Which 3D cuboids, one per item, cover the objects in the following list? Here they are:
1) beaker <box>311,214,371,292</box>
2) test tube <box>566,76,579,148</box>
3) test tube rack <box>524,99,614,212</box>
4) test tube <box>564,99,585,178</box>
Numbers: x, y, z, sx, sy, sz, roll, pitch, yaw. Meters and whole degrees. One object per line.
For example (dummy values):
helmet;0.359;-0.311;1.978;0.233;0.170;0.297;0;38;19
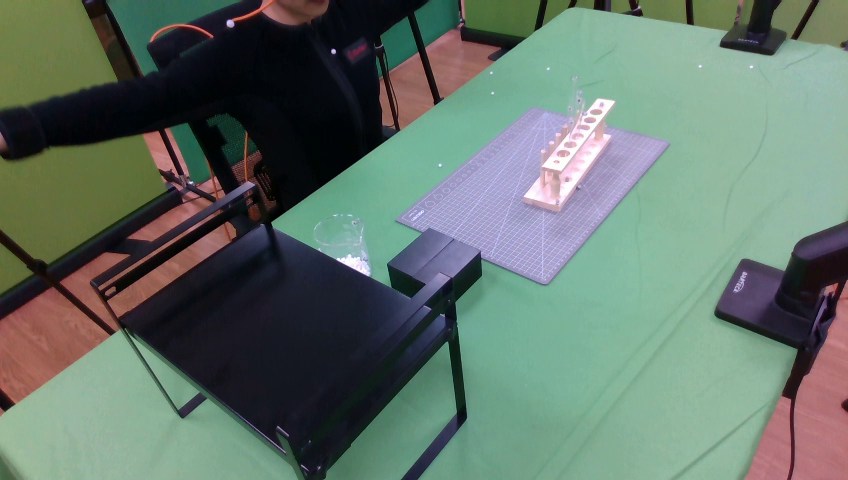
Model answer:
beaker;-0.118;0.022;0.907;0.083;0.101;0.074;26;51;32
test tube;0.261;-0.221;1.073;0.017;0.151;0.017;-4;41;4
test tube rack;0.259;-0.158;1.069;0.066;0.085;0.243;19;47;28
test tube;0.248;-0.164;1.001;0.017;0.151;0.017;-1;42;1
